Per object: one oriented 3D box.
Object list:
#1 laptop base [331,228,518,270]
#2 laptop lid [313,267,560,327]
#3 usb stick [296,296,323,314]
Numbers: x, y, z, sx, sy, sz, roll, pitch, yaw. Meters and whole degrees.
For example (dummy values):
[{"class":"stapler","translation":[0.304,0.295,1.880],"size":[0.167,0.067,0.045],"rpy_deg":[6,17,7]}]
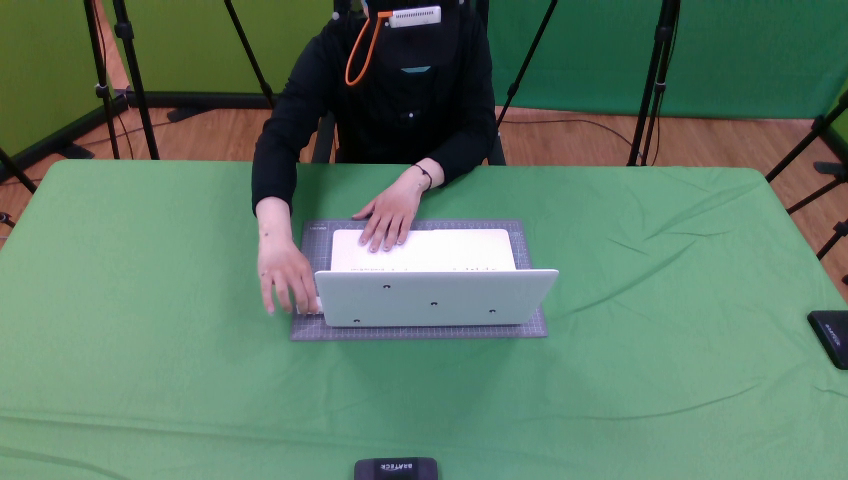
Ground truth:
[{"class":"laptop base","translation":[0.003,0.063,1.135],"size":[0.355,0.023,0.234],"rpy_deg":[0,42,-4]},{"class":"laptop lid","translation":[0.015,0.094,0.949],"size":[0.357,0.242,0.013],"rpy_deg":[0,63,-5]},{"class":"usb stick","translation":[-0.191,0.114,1.058],"size":[0.059,0.027,0.021],"rpy_deg":[2,46,-4]}]
